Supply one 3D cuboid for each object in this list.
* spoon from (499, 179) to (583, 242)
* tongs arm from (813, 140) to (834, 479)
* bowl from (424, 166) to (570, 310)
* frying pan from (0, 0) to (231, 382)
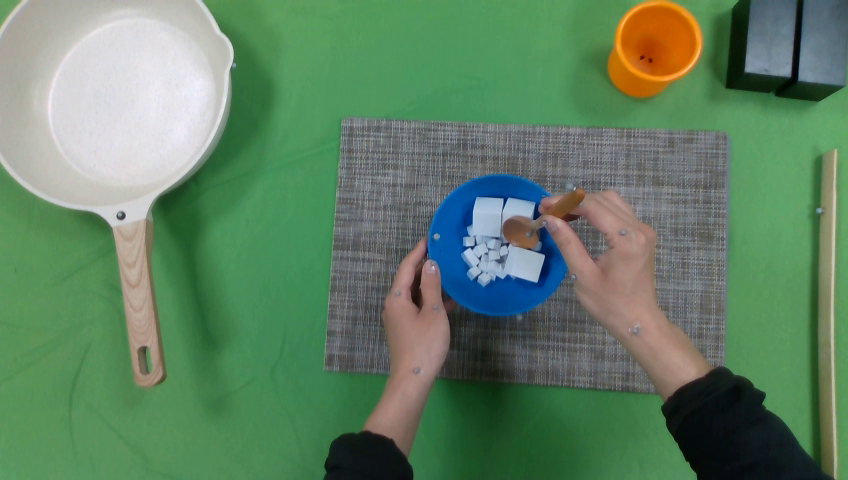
[{"bbox_3d":[0.105,-0.024,0.554,0.041,0.194,0.021,41,81,0],"label":"spoon"},{"bbox_3d":[0.446,0.082,0.665,0.028,0.028,0.386,2,86,2],"label":"tongs arm"},{"bbox_3d":[0.078,0.001,0.662,0.151,0.077,0.151,0,85,4],"label":"bowl"},{"bbox_3d":[-0.340,-0.082,0.685,0.307,0.103,0.485,-13,76,3],"label":"frying pan"}]
